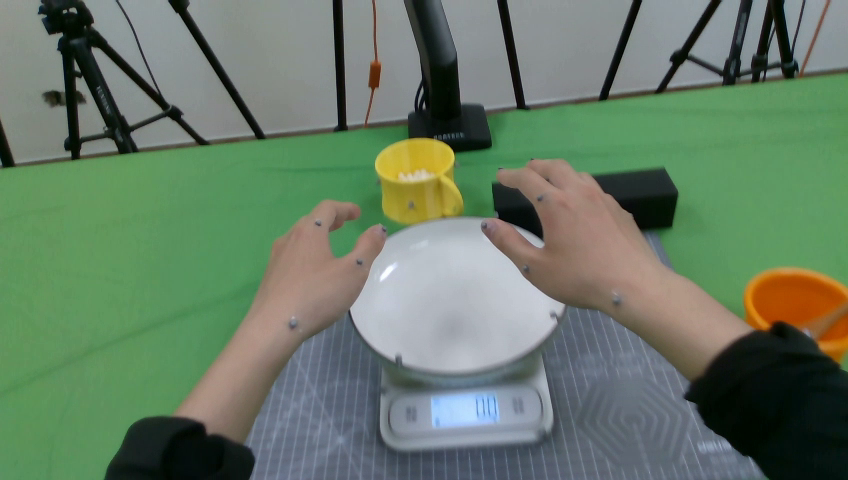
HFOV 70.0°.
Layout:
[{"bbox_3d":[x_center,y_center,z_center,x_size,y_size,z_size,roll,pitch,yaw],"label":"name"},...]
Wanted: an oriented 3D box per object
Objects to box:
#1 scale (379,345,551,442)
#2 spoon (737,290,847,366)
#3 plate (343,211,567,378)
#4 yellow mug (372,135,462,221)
[{"bbox_3d":[0.033,0.093,0.575,0.148,0.032,0.199,-5,41,3],"label":"scale"},{"bbox_3d":[0.348,0.048,0.494,0.022,0.194,0.041,28,36,-28],"label":"spoon"},{"bbox_3d":[0.029,0.049,0.576,0.209,0.038,0.207,-3,40,3],"label":"plate"},{"bbox_3d":[-0.001,-0.074,0.756,0.100,0.064,0.129,-35,48,-29],"label":"yellow mug"}]
